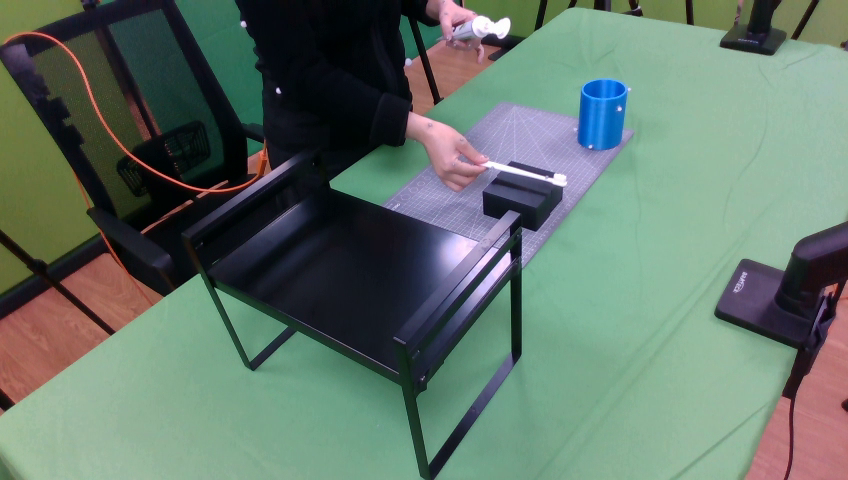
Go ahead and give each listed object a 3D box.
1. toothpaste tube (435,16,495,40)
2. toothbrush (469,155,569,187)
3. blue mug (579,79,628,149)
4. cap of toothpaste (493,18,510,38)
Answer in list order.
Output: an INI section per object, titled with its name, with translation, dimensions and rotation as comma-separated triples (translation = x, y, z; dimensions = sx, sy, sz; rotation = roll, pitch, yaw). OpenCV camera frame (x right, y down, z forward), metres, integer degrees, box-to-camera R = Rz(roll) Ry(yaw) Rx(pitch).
[toothpaste tube]
translation = 0.080, -0.386, 1.118
dimensions = 0.055, 0.034, 0.164
rotation = -12, 14, -24
[toothbrush]
translation = 0.153, -0.116, 0.992
dimensions = 0.180, 0.017, 0.014
rotation = 19, 49, 29
[blue mug]
translation = 0.336, -0.246, 1.143
dimensions = 0.082, 0.106, 0.116
rotation = 0, 41, 10
[cap of toothpaste]
translation = 0.134, -0.368, 1.047
dimensions = 0.011, 0.037, 0.037
rotation = 12, 29, -33
